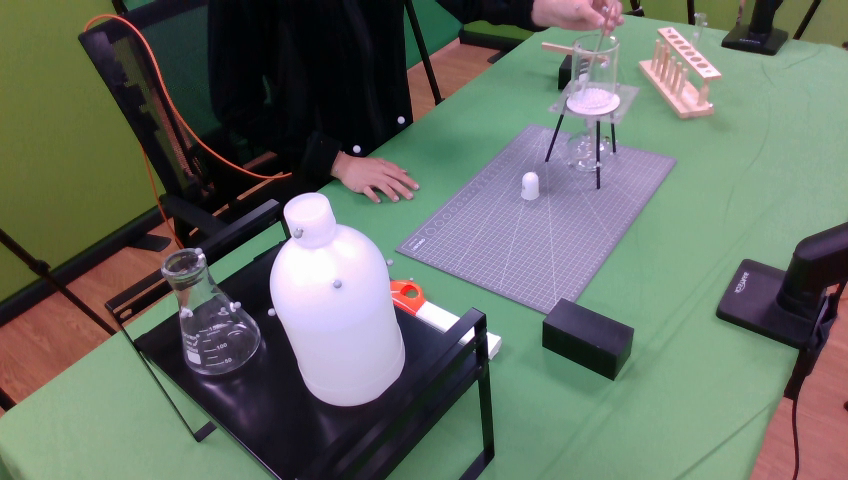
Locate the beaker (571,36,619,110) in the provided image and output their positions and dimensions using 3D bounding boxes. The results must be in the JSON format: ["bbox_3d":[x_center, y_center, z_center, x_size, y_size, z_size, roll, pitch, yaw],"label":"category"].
[{"bbox_3d":[0.281,-0.273,0.992,0.084,0.101,0.073,-24,42,-16],"label":"beaker"}]

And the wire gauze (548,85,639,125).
[{"bbox_3d":[0.286,-0.234,1.020,0.124,0.011,0.122,15,44,30],"label":"wire gauze"}]

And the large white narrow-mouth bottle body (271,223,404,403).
[{"bbox_3d":[-0.077,0.048,0.525,0.102,0.195,0.101,-5,40,4],"label":"large white narrow-mouth bottle body"}]

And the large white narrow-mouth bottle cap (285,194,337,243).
[{"bbox_3d":[-0.087,-0.018,0.467,0.038,0.024,0.037,-4,40,4],"label":"large white narrow-mouth bottle cap"}]

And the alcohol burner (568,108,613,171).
[{"bbox_3d":[0.296,-0.182,1.074,0.078,0.119,0.077,-5,43,5],"label":"alcohol burner"}]

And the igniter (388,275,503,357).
[{"bbox_3d":[-0.008,0.093,0.870,0.274,0.025,0.057,24,60,33],"label":"igniter"}]

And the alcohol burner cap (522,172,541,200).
[{"bbox_3d":[0.186,-0.096,1.047,0.034,0.048,0.033,-5,39,4],"label":"alcohol burner cap"}]

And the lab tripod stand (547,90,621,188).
[{"bbox_3d":[0.289,-0.184,1.062,0.148,0.132,0.147,-6,41,6],"label":"lab tripod stand"}]

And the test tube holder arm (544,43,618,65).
[{"bbox_3d":[0.345,-0.413,1.341,0.177,0.015,0.013,25,49,32],"label":"test tube holder arm"}]

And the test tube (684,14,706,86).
[{"bbox_3d":[0.541,-0.378,1.215,0.017,0.151,0.017,-2,44,3],"label":"test tube"}]

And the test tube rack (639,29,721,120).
[{"bbox_3d":[0.527,-0.351,1.262,0.067,0.085,0.241,-8,40,1],"label":"test tube rack"}]

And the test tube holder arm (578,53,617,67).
[{"bbox_3d":[0.376,-0.394,1.314,0.087,0.015,0.010,26,49,32],"label":"test tube holder arm"}]

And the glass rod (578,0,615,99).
[{"bbox_3d":[0.272,-0.307,0.946,0.008,0.200,0.008,5,45,-4],"label":"glass rod"}]

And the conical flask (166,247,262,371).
[{"bbox_3d":[-0.209,0.064,0.585,0.075,0.122,0.075,-4,40,4],"label":"conical flask"}]
